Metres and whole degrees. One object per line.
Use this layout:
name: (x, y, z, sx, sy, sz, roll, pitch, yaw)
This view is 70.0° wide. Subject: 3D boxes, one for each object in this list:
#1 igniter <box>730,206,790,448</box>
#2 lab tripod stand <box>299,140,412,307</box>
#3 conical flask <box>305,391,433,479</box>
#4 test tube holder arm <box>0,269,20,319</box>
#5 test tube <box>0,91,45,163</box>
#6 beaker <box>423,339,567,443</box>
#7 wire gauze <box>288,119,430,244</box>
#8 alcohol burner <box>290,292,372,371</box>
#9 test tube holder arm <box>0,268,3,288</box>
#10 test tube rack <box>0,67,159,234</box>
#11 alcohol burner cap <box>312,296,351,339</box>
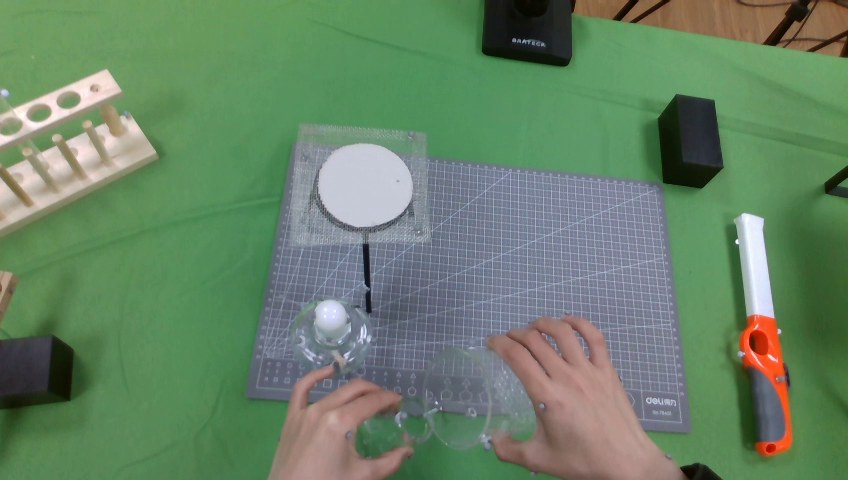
igniter: (0.370, 0.089, 0.670, 0.057, 0.025, 0.274, 13, 65, -13)
lab tripod stand: (-0.062, -0.022, 0.604, 0.149, 0.132, 0.147, 3, 66, -7)
conical flask: (-0.043, 0.166, 0.524, 0.076, 0.122, 0.074, 25, 48, -31)
test tube holder arm: (-0.382, 0.068, 0.535, 0.010, 0.015, 0.087, 9, 64, -3)
test tube: (-0.399, -0.120, 0.579, 0.017, 0.151, 0.017, 4, 60, -6)
beaker: (0.059, 0.118, 0.488, 0.101, 0.084, 0.073, 3, 60, -40)
wire gauze: (-0.057, -0.054, 0.545, 0.122, 0.011, 0.124, 1, 67, -7)
alcohol burner: (-0.086, 0.080, 0.565, 0.078, 0.120, 0.077, 4, 64, -7)
test tube holder arm: (-0.392, 0.107, 0.515, 0.013, 0.015, 0.177, 8, 64, -4)
test tube rack: (-0.409, -0.075, 0.612, 0.242, 0.085, 0.066, -33, 73, -20)
alcohol burner cap: (-0.082, 0.066, 0.532, 0.034, 0.048, 0.033, 1, 69, -2)
